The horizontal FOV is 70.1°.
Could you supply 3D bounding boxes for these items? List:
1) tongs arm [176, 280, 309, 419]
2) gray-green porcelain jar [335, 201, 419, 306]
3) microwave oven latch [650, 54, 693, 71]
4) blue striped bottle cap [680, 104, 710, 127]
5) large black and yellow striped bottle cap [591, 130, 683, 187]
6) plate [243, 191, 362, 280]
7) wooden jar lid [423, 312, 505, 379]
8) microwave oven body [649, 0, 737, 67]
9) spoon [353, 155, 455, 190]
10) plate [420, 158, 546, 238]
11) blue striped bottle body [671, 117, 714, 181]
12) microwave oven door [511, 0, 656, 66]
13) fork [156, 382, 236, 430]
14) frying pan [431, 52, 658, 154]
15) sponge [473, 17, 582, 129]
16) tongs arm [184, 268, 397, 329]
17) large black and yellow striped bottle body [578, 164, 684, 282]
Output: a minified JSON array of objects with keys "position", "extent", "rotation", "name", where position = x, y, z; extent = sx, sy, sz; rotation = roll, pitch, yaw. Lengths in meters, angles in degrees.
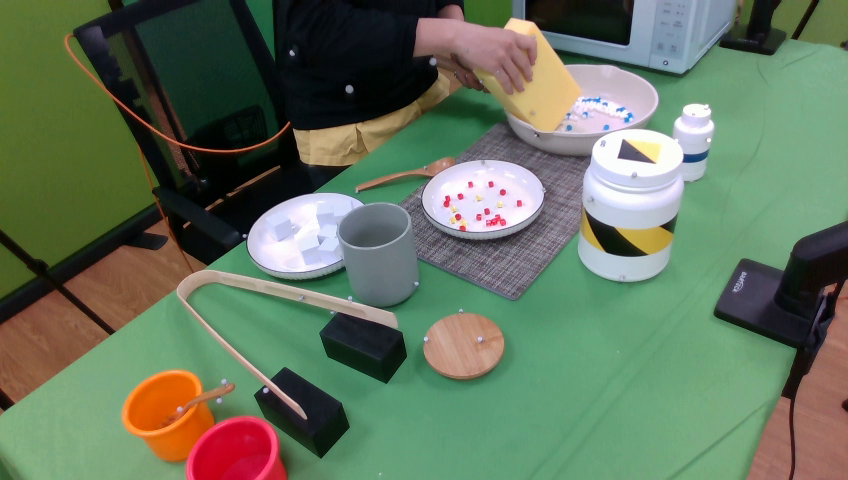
[{"position":[-0.254,0.133,0.801],"extent":[0.028,0.028,0.384],"rotation":[-41,41,-23],"name":"tongs arm"},{"position":[-0.064,0.024,0.872],"extent":[0.106,0.127,0.105],"rotation":[-4,41,4],"name":"gray-green porcelain jar"},{"position":[0.531,-0.386,1.301],"extent":[0.078,0.029,0.030],"rotation":[26,51,33],"name":"microwave oven latch"},{"position":[0.443,-0.205,0.989],"extent":[0.044,0.021,0.044],"rotation":[-1,41,2],"name":"blue striped bottle cap"},{"position":[0.282,-0.111,0.803],"extent":[0.115,0.019,0.114],"rotation":[-3,41,3],"name":"large black and yellow striped bottle cap"},{"position":[-0.187,-0.005,0.992],"extent":[0.207,0.039,0.206],"rotation":[-4,41,4],"name":"plate"},{"position":[0.053,0.142,0.800],"extent":[0.108,0.021,0.108],"rotation":[-5,39,4],"name":"wooden jar lid"},{"position":[0.475,-0.602,1.411],"extent":[0.438,0.261,0.327],"rotation":[23,50,32],"name":"microwave oven body"},{"position":[-0.038,-0.123,1.116],"extent":[0.194,0.022,0.041],"rotation":[-12,58,-4],"name":"spoon"},{"position":[0.099,-0.067,1.017],"extent":[0.209,0.038,0.208],"rotation":[-4,40,4],"name":"plate"},{"position":[0.449,-0.165,1.022],"extent":[0.063,0.121,0.063],"rotation":[-5,41,4],"name":"blue striped bottle body"},{"position":[0.351,-0.540,1.349],"extent":[0.353,0.245,0.039],"rotation":[24,50,31],"name":"microwave oven door"},{"position":[-0.262,0.189,0.690],"extent":[0.018,0.206,0.028],"rotation":[49,43,-7],"name":"fork"},{"position":[0.216,-0.302,1.223],"extent":[0.484,0.103,0.308],"rotation":[29,49,24],"name":"frying pan"},{"position":[0.196,-0.296,1.119],"extent":[0.118,0.209,0.060],"rotation":[-55,45,2],"name":"sponge"},{"position":[-0.202,0.084,0.848],"extent":[0.382,0.027,0.051],"rotation":[11,45,35],"name":"tongs arm"},{"position":[0.292,-0.046,0.859],"extent":[0.131,0.185,0.130],"rotation":[-4,41,4],"name":"large black and yellow striped bottle body"}]
